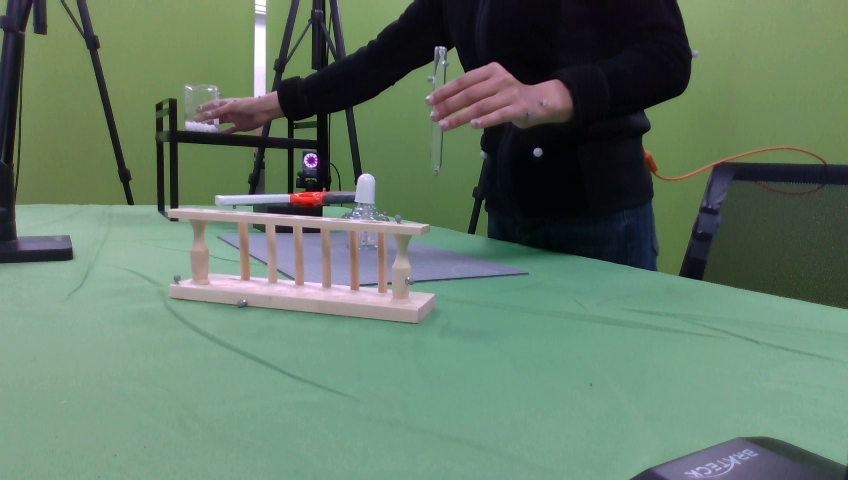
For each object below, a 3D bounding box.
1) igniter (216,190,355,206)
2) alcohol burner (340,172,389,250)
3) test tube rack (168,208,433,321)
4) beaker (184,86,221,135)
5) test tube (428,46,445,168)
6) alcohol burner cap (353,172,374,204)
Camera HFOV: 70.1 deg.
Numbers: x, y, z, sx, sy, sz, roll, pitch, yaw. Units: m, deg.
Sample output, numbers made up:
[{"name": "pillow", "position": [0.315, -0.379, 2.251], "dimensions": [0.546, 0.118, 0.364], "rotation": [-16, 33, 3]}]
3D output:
[{"name": "igniter", "position": [-0.248, -0.080, 1.152], "dimensions": [0.278, 0.025, 0.057], "rotation": [-4, 11, -27]}, {"name": "alcohol burner", "position": [-0.094, -0.045, 0.939], "dimensions": [0.078, 0.119, 0.078], "rotation": [-1, 7, 0]}, {"name": "test tube rack", "position": [-0.115, 0.017, 0.574], "dimensions": [0.242, 0.085, 0.067], "rotation": [4, 8, 13]}, {"name": "beaker", "position": [-0.475, -0.277, 1.296], "dimensions": [0.074, 0.100, 0.084], "rotation": [2, 8, -1]}, {"name": "test tube", "position": [0.015, -0.165, 0.755], "dimensions": [0.017, 0.150, 0.017], "rotation": [2, 7, 0]}, {"name": "alcohol burner cap", "position": [-0.092, -0.081, 0.935], "dimensions": [0.034, 0.048, 0.034], "rotation": [5, 7, 0]}]
